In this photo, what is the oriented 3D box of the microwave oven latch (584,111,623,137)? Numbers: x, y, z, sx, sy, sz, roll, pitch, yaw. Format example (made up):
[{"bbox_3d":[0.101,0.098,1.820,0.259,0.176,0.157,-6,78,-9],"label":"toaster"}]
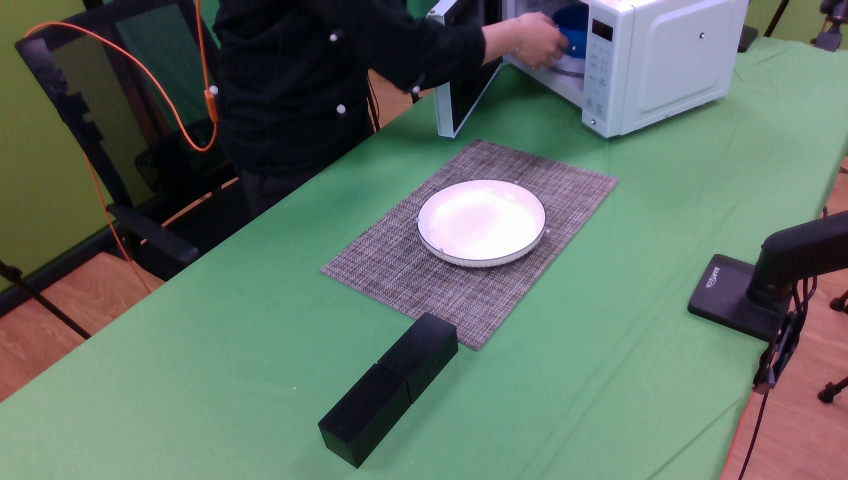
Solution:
[{"bbox_3d":[0.337,-0.222,1.142,0.030,0.029,0.078,-21,42,-14],"label":"microwave oven latch"}]

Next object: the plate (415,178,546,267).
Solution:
[{"bbox_3d":[0.091,-0.026,0.970,0.207,0.039,0.206,-4,41,4],"label":"plate"}]

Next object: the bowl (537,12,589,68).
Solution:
[{"bbox_3d":[0.315,-0.420,1.291,0.151,0.077,0.150,-1,41,1],"label":"bowl"}]

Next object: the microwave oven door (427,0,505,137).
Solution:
[{"bbox_3d":[0.095,-0.407,1.235,0.039,0.245,0.356,10,44,20],"label":"microwave oven door"}]

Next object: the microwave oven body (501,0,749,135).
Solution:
[{"bbox_3d":[0.382,-0.444,1.246,0.327,0.261,0.437,-22,42,-16],"label":"microwave oven body"}]
